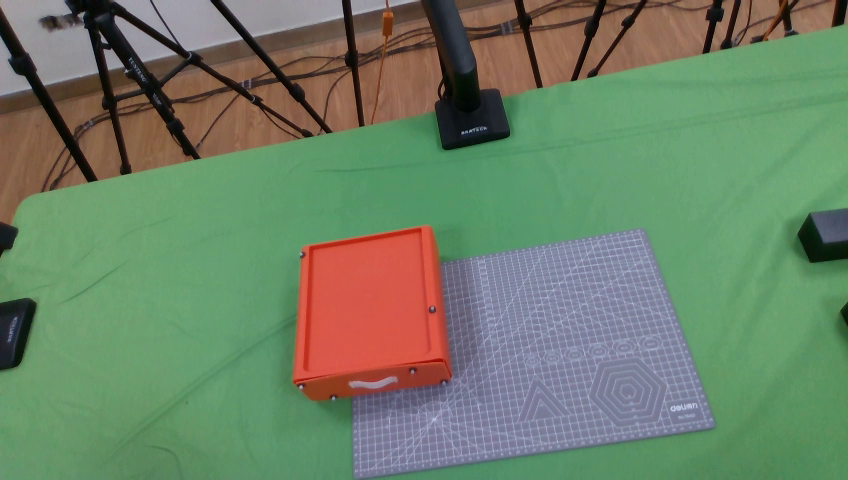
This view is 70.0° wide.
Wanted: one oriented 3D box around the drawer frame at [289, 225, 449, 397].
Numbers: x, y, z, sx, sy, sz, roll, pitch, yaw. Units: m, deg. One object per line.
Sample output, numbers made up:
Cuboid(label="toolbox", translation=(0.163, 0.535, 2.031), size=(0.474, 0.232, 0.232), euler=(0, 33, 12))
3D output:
Cuboid(label="drawer frame", translation=(-0.077, 0.101, 0.847), size=(0.201, 0.083, 0.211), euler=(-11, 55, 6))

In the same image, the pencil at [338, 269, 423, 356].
Cuboid(label="pencil", translation=(-0.065, 0.102, 0.875), size=(0.012, 0.012, 0.192), euler=(-40, 61, -15))

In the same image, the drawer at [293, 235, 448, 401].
Cuboid(label="drawer", translation=(-0.075, 0.106, 0.845), size=(0.194, 0.074, 0.209), euler=(-10, 55, 6))
